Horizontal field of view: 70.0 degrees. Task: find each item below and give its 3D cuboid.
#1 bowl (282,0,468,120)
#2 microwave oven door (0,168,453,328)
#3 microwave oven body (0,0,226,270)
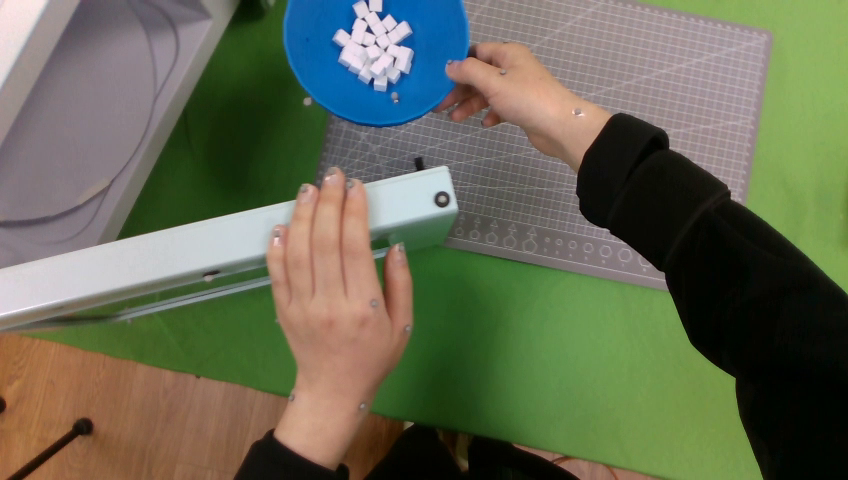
[{"bbox_3d":[-0.041,-0.170,0.524,0.151,0.077,0.151,0,87,-4],"label":"bowl"},{"bbox_3d":[-0.157,0.012,0.490,0.356,0.244,0.039,-14,85,-2],"label":"microwave oven door"},{"bbox_3d":[-0.363,-0.203,0.502,0.326,0.260,0.441,25,87,0],"label":"microwave oven body"}]
